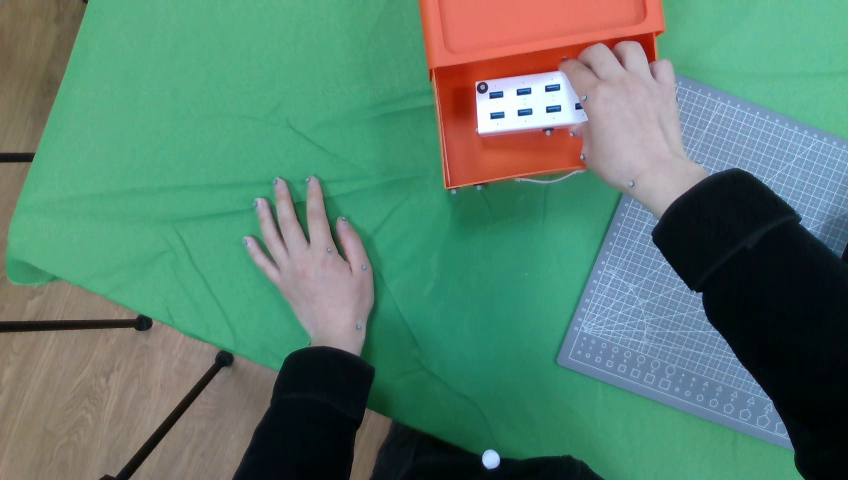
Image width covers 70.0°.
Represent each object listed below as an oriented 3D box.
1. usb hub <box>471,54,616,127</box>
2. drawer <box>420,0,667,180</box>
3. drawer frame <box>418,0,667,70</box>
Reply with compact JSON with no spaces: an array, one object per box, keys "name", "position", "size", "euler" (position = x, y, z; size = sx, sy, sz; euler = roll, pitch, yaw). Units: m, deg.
[{"name":"usb hub","position":[0.106,-0.134,0.545],"size":[0.125,0.025,0.049],"euler":[-4,93,13]},{"name":"drawer","position":[0.099,-0.166,0.535],"size":[0.194,0.073,0.212],"euler":[-7,96,2]},{"name":"drawer frame","position":[0.085,-0.267,0.521],"size":[0.202,0.082,0.214],"euler":[-9,95,2]}]
